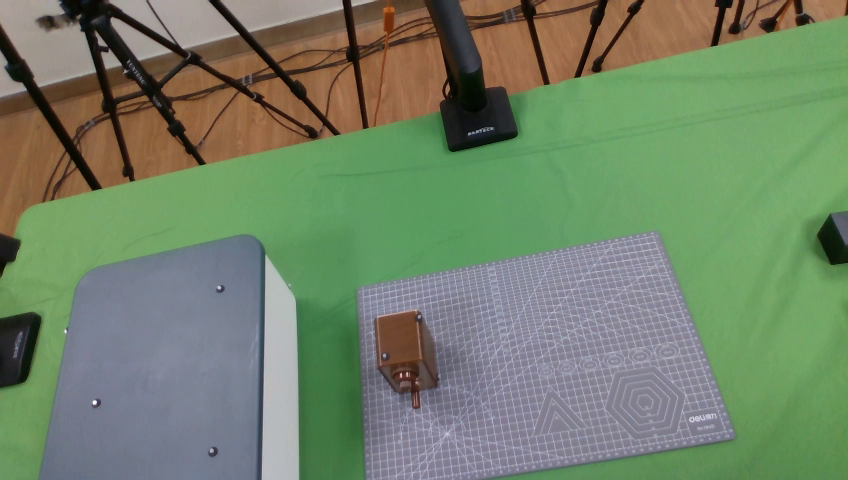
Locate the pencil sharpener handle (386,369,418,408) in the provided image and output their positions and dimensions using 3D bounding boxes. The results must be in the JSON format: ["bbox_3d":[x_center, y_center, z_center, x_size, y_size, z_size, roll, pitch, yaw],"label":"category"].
[{"bbox_3d":[-0.022,0.184,0.746,0.036,0.068,0.030,-15,57,12],"label":"pencil sharpener handle"}]

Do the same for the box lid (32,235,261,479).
[{"bbox_3d":[-0.320,0.165,0.718,0.263,0.015,0.367,-12,57,4],"label":"box lid"}]

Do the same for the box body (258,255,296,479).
[{"bbox_3d":[-0.307,0.206,0.779,0.254,0.162,0.360,-13,57,4],"label":"box body"}]

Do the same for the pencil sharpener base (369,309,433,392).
[{"bbox_3d":[-0.028,0.148,0.784,0.061,0.108,0.076,-11,58,5],"label":"pencil sharpener base"}]
